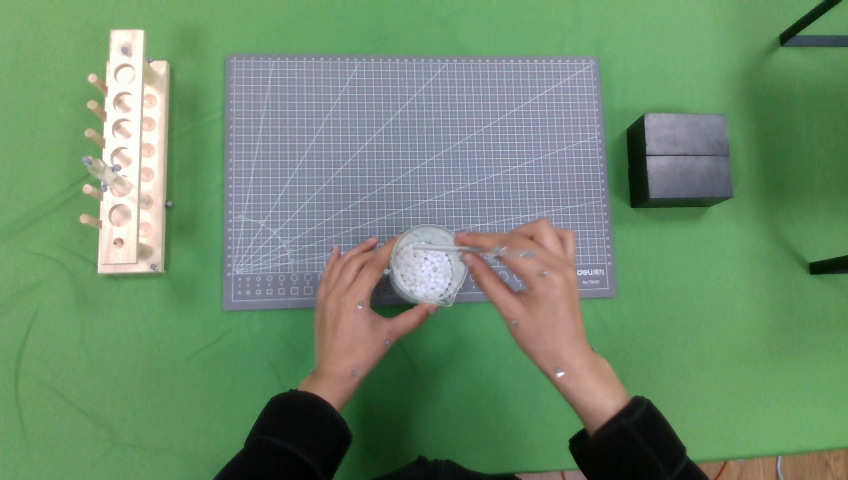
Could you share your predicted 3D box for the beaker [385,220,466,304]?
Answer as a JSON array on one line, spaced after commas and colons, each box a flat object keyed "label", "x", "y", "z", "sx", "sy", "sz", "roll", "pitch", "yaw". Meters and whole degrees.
[{"label": "beaker", "x": 0.000, "y": 0.029, "z": 0.613, "sx": 0.074, "sy": 0.100, "sz": 0.084, "roll": -26, "pitch": 85, "yaw": -9}]

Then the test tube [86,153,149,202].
[{"label": "test tube", "x": -0.295, "y": -0.058, "z": 0.590, "sx": 0.017, "sy": 0.150, "sz": 0.017, "roll": 1, "pitch": 82, "yaw": -10}]

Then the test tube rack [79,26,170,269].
[{"label": "test tube rack", "x": -0.321, "y": -0.094, "z": 0.643, "sx": 0.067, "sy": 0.085, "sz": 0.241, "roll": -1, "pitch": 82, "yaw": -5}]

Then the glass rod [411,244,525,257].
[{"label": "glass rod", "x": 0.028, "y": 0.008, "z": 0.511, "sx": 0.008, "sy": 0.198, "sz": 0.008, "roll": 0, "pitch": 91, "yaw": -24}]
